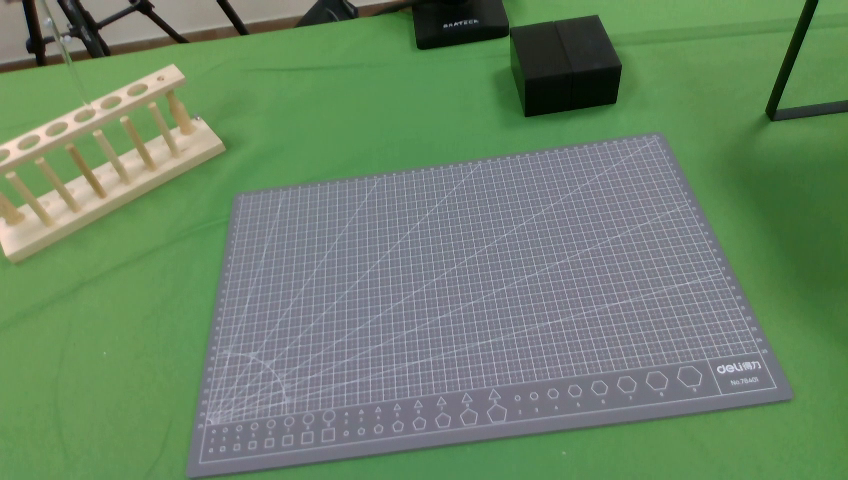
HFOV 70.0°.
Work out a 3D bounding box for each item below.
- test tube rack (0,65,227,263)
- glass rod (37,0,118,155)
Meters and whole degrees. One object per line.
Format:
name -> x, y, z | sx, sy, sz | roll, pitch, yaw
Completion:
test tube rack -> -0.344, -0.084, 0.638 | 0.242, 0.086, 0.066 | -33, 54, -18
glass rod -> -0.342, -0.152, 0.607 | 0.008, 0.201, 0.008 | -2, 42, 2
